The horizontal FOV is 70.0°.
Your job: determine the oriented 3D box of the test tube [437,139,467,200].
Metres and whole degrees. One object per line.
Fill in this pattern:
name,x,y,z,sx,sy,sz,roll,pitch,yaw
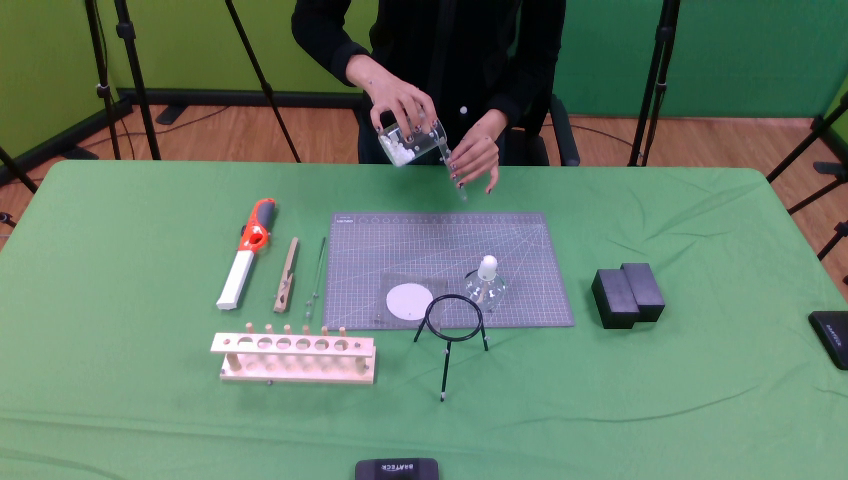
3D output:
test tube,0.053,-0.128,1.123,0.017,0.151,0.017,-13,46,14

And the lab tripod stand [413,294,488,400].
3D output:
lab tripod stand,0.044,0.159,0.972,0.148,0.132,0.147,3,44,-2

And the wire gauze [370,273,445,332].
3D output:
wire gauze,-0.028,0.109,1.099,0.125,0.011,0.121,7,45,4

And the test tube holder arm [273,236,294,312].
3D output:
test tube holder arm,-0.259,0.059,1.122,0.013,0.015,0.177,28,39,-28

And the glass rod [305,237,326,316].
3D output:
glass rod,-0.202,0.063,1.131,0.008,0.008,0.198,4,44,0

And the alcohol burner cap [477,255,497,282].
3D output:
alcohol burner cap,0.110,0.047,1.046,0.034,0.048,0.033,2,52,-2

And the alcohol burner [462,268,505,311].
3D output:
alcohol burner,0.108,0.071,1.072,0.078,0.119,0.077,4,45,-4

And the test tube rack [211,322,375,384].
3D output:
test tube rack,-0.202,0.176,0.969,0.242,0.085,0.066,3,46,-2

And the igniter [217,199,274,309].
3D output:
igniter,-0.336,0.017,1.153,0.057,0.025,0.275,-2,45,8

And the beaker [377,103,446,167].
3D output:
beaker,-0.022,-0.175,1.036,0.100,0.084,0.073,-31,49,-5

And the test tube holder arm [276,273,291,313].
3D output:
test tube holder arm,-0.254,0.093,1.094,0.010,0.015,0.087,29,38,-27
